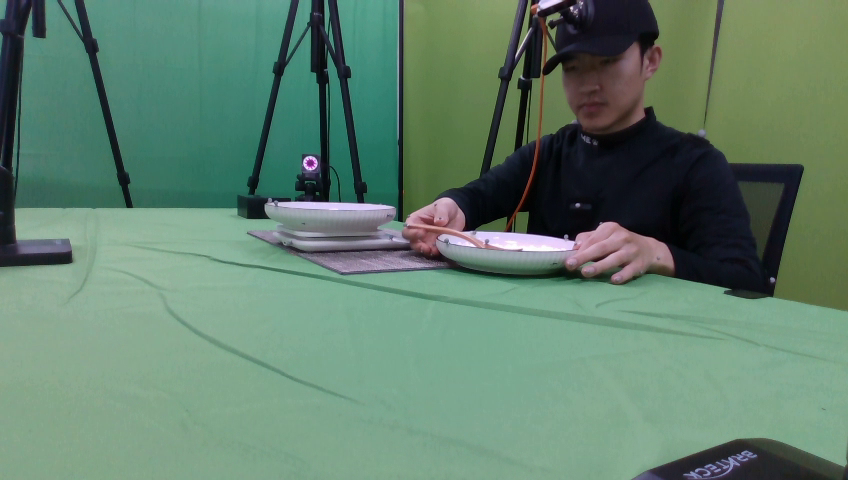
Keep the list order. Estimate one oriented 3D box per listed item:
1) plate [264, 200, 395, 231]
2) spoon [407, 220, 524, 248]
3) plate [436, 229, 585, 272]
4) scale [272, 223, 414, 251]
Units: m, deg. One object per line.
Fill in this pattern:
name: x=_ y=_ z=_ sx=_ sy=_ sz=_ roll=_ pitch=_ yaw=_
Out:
plate: x=-0.150 y=-0.040 z=0.971 sx=0.208 sy=0.039 sz=0.207 roll=2 pitch=7 yaw=0
spoon: x=0.053 y=-0.006 z=0.851 sx=0.193 sy=0.021 sz=0.042 roll=20 pitch=25 yaw=35
plate: x=0.121 y=0.015 z=0.855 sx=0.209 sy=0.038 sz=0.209 roll=2 pitch=7 yaw=0
scale: x=-0.131 y=-0.008 z=0.984 sx=0.202 sy=0.031 sz=0.148 roll=-2 pitch=8 yaw=-32
